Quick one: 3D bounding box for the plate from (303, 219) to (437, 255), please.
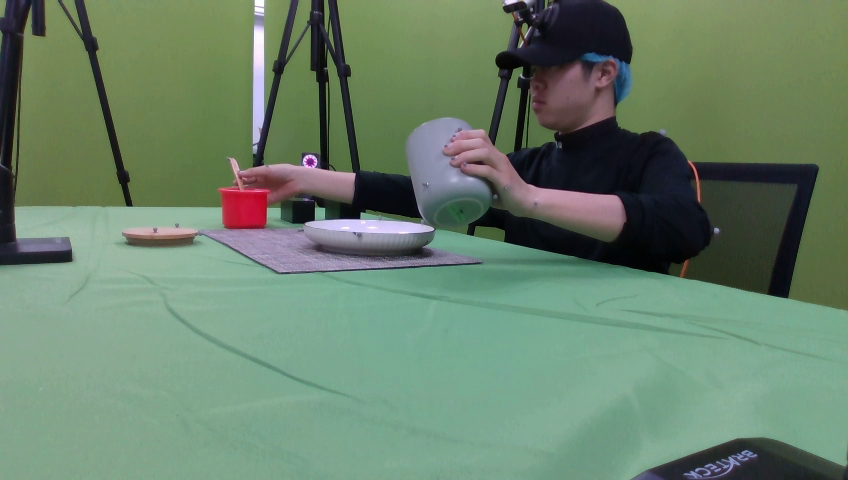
[{"bbox_3d":[-0.084,-0.005,0.952,0.208,0.039,0.207,3,7,0],"label":"plate"}]

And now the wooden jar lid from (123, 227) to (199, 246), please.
[{"bbox_3d":[-0.408,-0.006,0.942,0.108,0.020,0.108,3,6,0],"label":"wooden jar lid"}]

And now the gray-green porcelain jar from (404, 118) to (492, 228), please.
[{"bbox_3d":[0.034,-0.089,0.844,0.106,0.126,0.106,-10,-29,-5],"label":"gray-green porcelain jar"}]

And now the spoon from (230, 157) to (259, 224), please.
[{"bbox_3d":[-0.366,-0.101,1.215,0.042,0.021,0.193,-1,52,-29],"label":"spoon"}]
